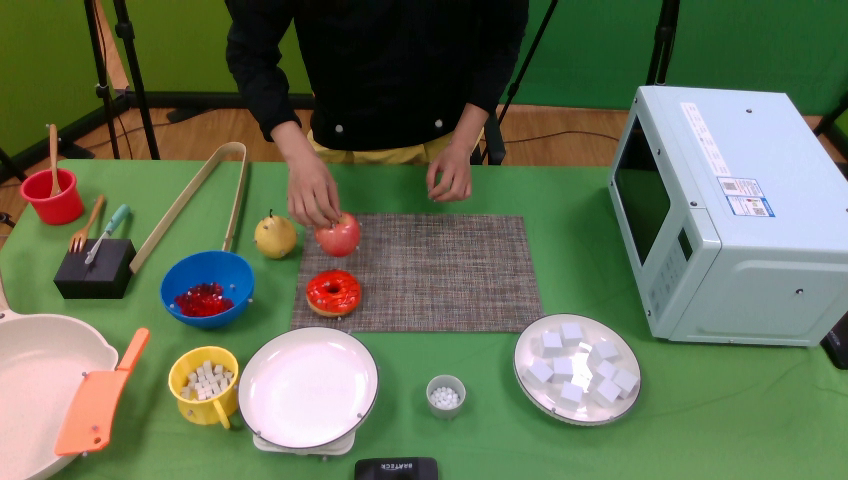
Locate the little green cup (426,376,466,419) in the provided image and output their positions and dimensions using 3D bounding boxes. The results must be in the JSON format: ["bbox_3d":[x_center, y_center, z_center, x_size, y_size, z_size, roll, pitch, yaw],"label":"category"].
[{"bbox_3d":[0.033,0.248,0.950,0.061,0.039,0.061,2,46,-2],"label":"little green cup"}]

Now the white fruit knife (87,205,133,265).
[{"bbox_3d":[-0.584,-0.013,1.129,0.016,0.027,0.206,-1,32,-4],"label":"white fruit knife"}]

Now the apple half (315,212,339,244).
[{"bbox_3d":[-0.179,-0.019,1.109,0.032,0.081,0.081,30,51,13],"label":"apple half"}]

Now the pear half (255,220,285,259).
[{"bbox_3d":[-0.293,0.003,1.127,0.070,0.088,0.031,26,49,16],"label":"pear half"}]

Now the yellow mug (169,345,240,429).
[{"bbox_3d":[-0.322,0.230,0.922,0.100,0.064,0.130,-24,53,-25],"label":"yellow mug"}]

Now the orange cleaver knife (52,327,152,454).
[{"bbox_3d":[-0.462,0.212,0.879,0.077,0.012,0.210,7,45,-2],"label":"orange cleaver knife"}]

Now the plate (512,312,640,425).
[{"bbox_3d":[0.246,0.213,0.999,0.208,0.039,0.206,2,46,-2],"label":"plate"}]

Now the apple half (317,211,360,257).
[{"bbox_3d":[-0.146,-0.004,1.090,0.053,0.075,0.081,30,45,24],"label":"apple half"}]

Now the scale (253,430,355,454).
[{"bbox_3d":[-0.175,0.236,0.951,0.149,0.032,0.199,4,45,0],"label":"scale"}]

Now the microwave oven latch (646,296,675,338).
[{"bbox_3d":[0.412,0.134,1.061,0.030,0.029,0.078,4,45,1],"label":"microwave oven latch"}]

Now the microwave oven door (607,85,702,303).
[{"bbox_3d":[0.423,-0.094,1.140,0.039,0.245,0.353,2,46,-1],"label":"microwave oven door"}]

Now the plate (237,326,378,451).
[{"bbox_3d":[-0.174,0.224,0.917,0.209,0.038,0.208,2,46,-2],"label":"plate"}]

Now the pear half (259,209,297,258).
[{"bbox_3d":[-0.273,-0.024,1.141,0.076,0.110,0.056,27,50,16],"label":"pear half"}]

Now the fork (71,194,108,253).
[{"bbox_3d":[-0.634,-0.036,1.158,0.028,0.019,0.206,-8,31,-8],"label":"fork"}]

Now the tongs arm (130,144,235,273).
[{"bbox_3d":[-0.484,-0.077,1.234,0.028,0.028,0.385,6,44,12],"label":"tongs arm"}]

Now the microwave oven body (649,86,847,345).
[{"bbox_3d":[0.567,-0.053,1.118,0.326,0.261,0.439,2,45,-1],"label":"microwave oven body"}]

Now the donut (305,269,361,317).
[{"bbox_3d":[-0.160,0.094,1.075,0.099,0.048,0.098,4,45,-4],"label":"donut"}]

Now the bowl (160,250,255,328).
[{"bbox_3d":[-0.362,0.098,1.040,0.151,0.077,0.150,2,45,-2],"label":"bowl"}]

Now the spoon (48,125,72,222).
[{"bbox_3d":[-0.718,-0.131,1.189,0.041,0.021,0.193,-3,90,-7],"label":"spoon"}]

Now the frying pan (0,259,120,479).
[{"bbox_3d":[-0.647,0.164,0.936,0.307,0.103,0.485,-19,58,-22],"label":"frying pan"}]

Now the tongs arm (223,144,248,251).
[{"bbox_3d":[-0.397,-0.073,1.232,0.051,0.026,0.382,-2,45,-1],"label":"tongs arm"}]
